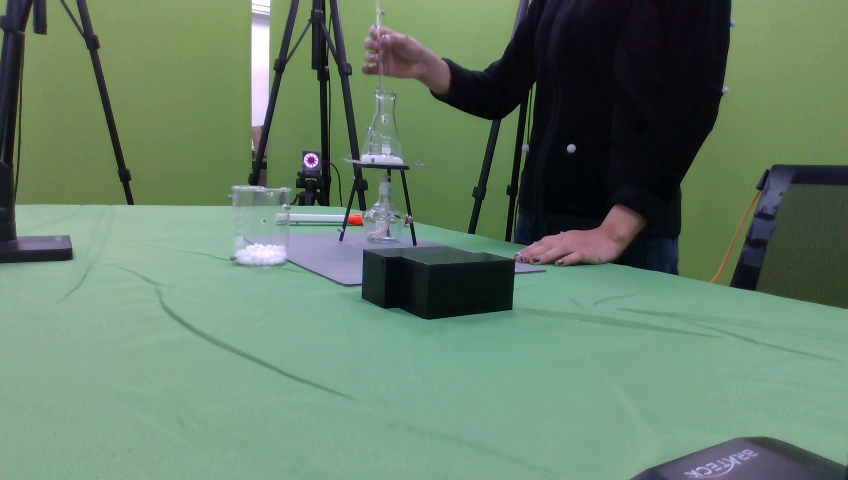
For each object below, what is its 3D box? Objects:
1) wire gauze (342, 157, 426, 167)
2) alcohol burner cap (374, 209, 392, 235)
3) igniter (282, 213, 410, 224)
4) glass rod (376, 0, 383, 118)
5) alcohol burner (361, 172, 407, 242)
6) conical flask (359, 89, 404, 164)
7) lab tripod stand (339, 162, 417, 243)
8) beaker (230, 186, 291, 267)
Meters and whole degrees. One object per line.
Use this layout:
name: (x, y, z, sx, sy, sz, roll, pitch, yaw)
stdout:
wire gauze: (-0.065, -0.130, 1.017, 0.122, 0.011, 0.124, 1, 5, -27)
alcohol burner cap: (-0.078, -0.035, 1.148, 0.034, 0.048, 0.034, 3, 8, 0)
igniter: (-0.159, -0.046, 1.287, 0.278, 0.025, 0.057, -1, -3, -21)
glass rod: (-0.074, -0.303, 1.005, 0.008, 0.199, 0.008, -1, 5, 0)
alcohol burner: (-0.067, -0.056, 1.030, 0.078, 0.119, 0.078, 4, 9, 0)
conical flask: (-0.068, -0.189, 1.011, 0.075, 0.122, 0.075, 4, 6, 0)
lab tripod stand: (-0.067, -0.065, 1.027, 0.148, 0.131, 0.148, 4, 7, 0)
beaker: (-0.209, -0.019, 0.778, 0.074, 0.100, 0.084, 3, 6, 4)
